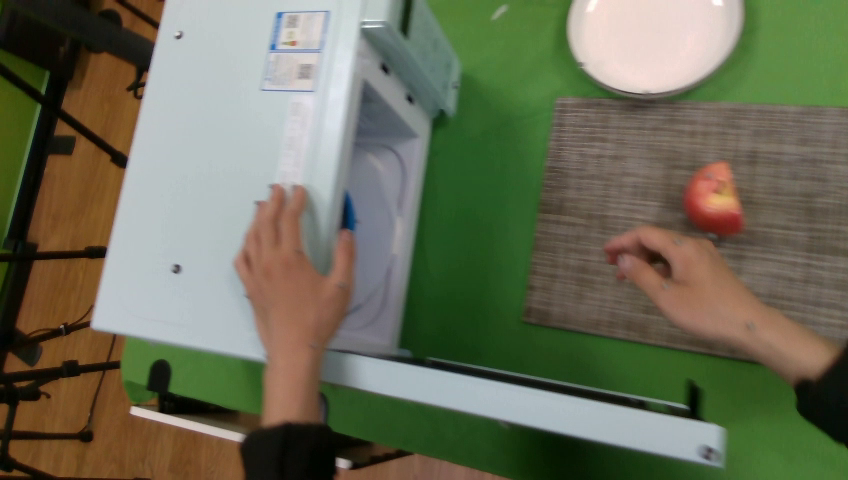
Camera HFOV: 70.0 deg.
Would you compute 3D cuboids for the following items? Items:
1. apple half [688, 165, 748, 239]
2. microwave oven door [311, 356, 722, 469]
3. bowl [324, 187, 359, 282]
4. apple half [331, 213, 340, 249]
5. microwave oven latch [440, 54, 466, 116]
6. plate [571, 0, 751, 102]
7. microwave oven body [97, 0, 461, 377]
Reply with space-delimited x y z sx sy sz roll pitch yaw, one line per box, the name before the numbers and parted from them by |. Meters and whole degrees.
apple half | 0.326 -0.038 0.680 0.053 0.075 0.080 -14 78 21
microwave oven door | 0.097 0.161 0.613 0.354 0.245 0.039 5 80 21
bowl | -0.138 -0.014 0.783 0.150 0.077 0.151 -2 87 26
apple half | -0.147 -0.019 0.774 0.081 0.033 0.081 1 94 19
microwave oven latch | 0.036 -0.211 0.824 0.030 0.030 0.079 11 83 21
plate | 0.294 -0.268 0.764 0.207 0.039 0.206 -4 78 19
microwave oven body | -0.160 -0.071 0.760 0.324 0.262 0.440 6 81 20
